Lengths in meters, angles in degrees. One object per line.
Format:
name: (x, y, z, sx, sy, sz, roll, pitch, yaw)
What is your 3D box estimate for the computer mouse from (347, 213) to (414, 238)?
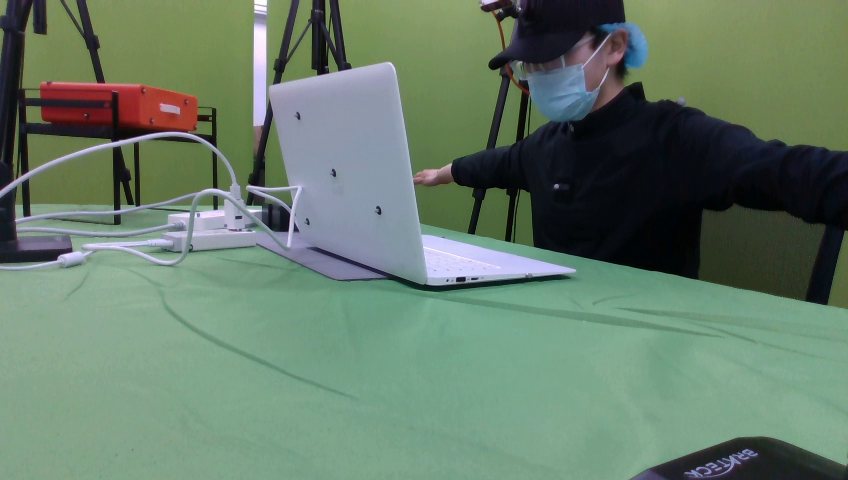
computer mouse: (-0.079, -0.025, 1.080, 0.117, 0.041, 0.062, -5, 11, -18)

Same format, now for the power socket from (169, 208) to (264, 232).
power socket: (-0.381, -0.038, 1.128, 0.072, 0.032, 0.227, 4, 8, 17)

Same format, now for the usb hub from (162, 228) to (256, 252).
usb hub: (-0.315, 0.000, 0.893, 0.049, 0.025, 0.126, 8, 10, 41)

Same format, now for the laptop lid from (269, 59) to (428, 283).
laptop lid: (-0.110, -0.087, 0.752, 0.013, 0.241, 0.355, -18, 19, -30)

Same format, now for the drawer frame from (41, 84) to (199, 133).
drawer frame: (-0.604, -0.264, 1.225, 0.213, 0.082, 0.202, 3, 8, 8)

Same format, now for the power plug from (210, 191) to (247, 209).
power plug: (-0.386, -0.071, 1.203, 0.072, 0.052, 0.035, 8, 10, 25)

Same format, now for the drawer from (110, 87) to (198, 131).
drawer: (-0.602, -0.263, 1.225, 0.211, 0.073, 0.195, 3, 8, 10)

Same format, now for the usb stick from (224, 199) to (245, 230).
usb stick: (-0.289, -0.033, 0.924, 0.027, 0.059, 0.021, 11, 13, 38)

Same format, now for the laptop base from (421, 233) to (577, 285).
laptop base: (0.007, 0.022, 0.850, 0.237, 0.023, 0.352, 1, 7, -34)
